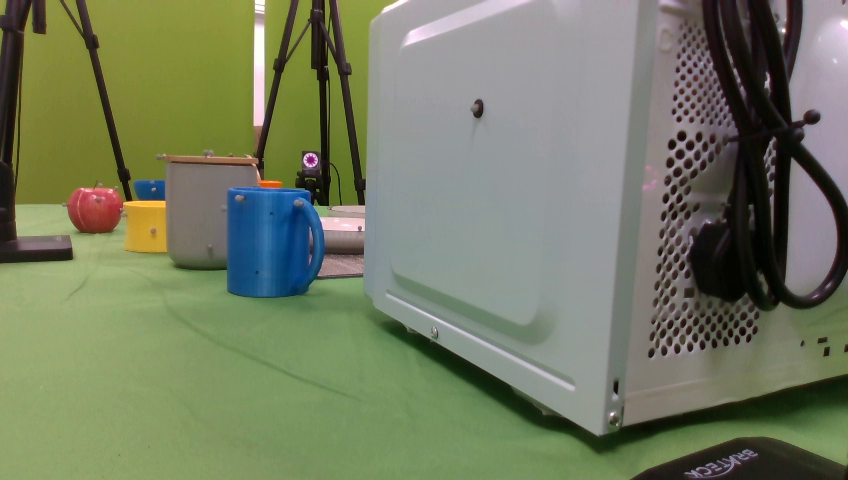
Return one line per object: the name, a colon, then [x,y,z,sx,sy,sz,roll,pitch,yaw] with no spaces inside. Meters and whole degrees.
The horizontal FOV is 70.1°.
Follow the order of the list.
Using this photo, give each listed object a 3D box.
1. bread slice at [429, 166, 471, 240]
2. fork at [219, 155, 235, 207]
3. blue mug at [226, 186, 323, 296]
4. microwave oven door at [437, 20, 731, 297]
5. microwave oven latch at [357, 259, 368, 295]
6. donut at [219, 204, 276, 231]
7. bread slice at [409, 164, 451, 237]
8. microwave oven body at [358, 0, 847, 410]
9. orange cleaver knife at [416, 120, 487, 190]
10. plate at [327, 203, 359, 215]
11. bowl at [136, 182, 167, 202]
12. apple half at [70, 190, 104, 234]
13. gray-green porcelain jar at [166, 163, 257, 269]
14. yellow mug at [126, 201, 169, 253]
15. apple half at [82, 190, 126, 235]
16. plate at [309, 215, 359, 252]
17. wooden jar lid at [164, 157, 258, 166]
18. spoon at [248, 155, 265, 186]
bread slice: [0.048,-0.065,1.063,0.019,0.131,0.105,5,6,39]
fork: [-0.459,-0.134,1.415,0.028,0.018,0.207,-1,-34,-24]
blue mug: [-0.148,0.000,0.618,0.116,0.106,0.083,7,9,33]
microwave oven door: [0.181,-0.076,0.618,0.358,0.243,0.039,-2,9,-28]
microwave oven latch: [-0.019,0.031,0.529,0.079,0.029,0.030,-1,7,-26]
donut: [-0.316,-0.039,1.083,0.099,0.048,0.099,2,7,0]
bread slice: [0.013,-0.071,1.102,0.018,0.134,0.107,-1,-1,36]
microwave oven body: [0.210,-0.051,0.471,0.444,0.260,0.324,-1,7,-28]
orange cleaver knife: [0.053,-0.141,1.130,0.012,0.077,0.212,14,-20,44]
plate: [-0.102,-0.053,1.299,0.209,0.038,0.209,2,8,0]
bowl: [-0.497,-0.076,1.221,0.151,0.077,0.151,2,8,0]
apple half: [-0.552,-0.047,1.010,0.053,0.074,0.081,0,10,26]
gray-green porcelain jar: [-0.263,-0.031,0.754,0.106,0.126,0.106,2,7,0]
yellow mug: [-0.361,-0.019,0.866,0.130,0.064,0.100,6,9,27]
apple half: [-0.516,-0.046,0.994,0.032,0.081,0.081,0,6,26]
plate: [-0.130,-0.011,0.945,0.208,0.039,0.207,2,7,0]
wooden jar lid: [-0.261,-0.093,0.746,0.108,0.020,0.108,0,9,0]
spoon: [-0.417,-0.150,1.543,0.042,0.193,0.021,-4,-35,-34]
